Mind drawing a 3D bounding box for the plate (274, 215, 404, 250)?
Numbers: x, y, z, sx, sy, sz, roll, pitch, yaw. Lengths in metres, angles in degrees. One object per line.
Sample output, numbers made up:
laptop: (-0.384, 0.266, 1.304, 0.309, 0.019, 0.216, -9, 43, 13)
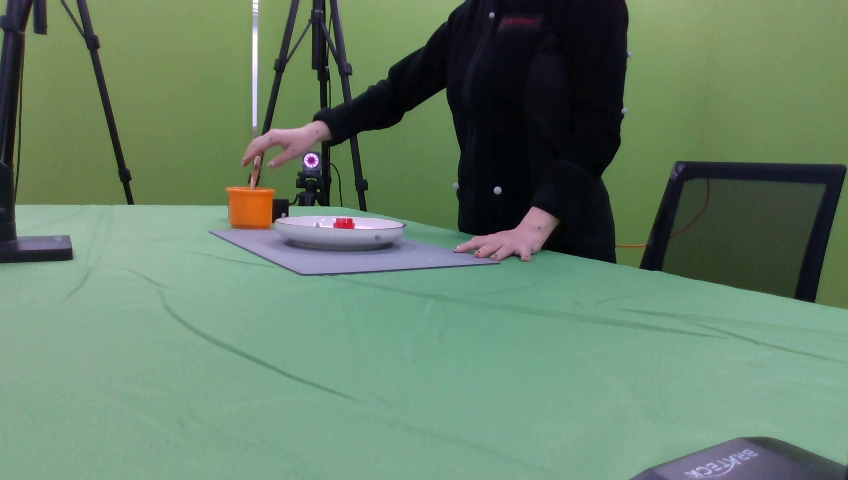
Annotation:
plate: (-0.136, -0.013, 0.981, 0.209, 0.038, 0.209, 2, 7, 0)

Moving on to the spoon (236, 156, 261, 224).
spoon: (-0.339, -0.102, 1.197, 0.042, 0.193, 0.021, 1, -37, -5)

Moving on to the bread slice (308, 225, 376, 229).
bread slice: (-0.134, -0.011, 0.974, 0.135, 0.018, 0.106, -3, 8, -33)
